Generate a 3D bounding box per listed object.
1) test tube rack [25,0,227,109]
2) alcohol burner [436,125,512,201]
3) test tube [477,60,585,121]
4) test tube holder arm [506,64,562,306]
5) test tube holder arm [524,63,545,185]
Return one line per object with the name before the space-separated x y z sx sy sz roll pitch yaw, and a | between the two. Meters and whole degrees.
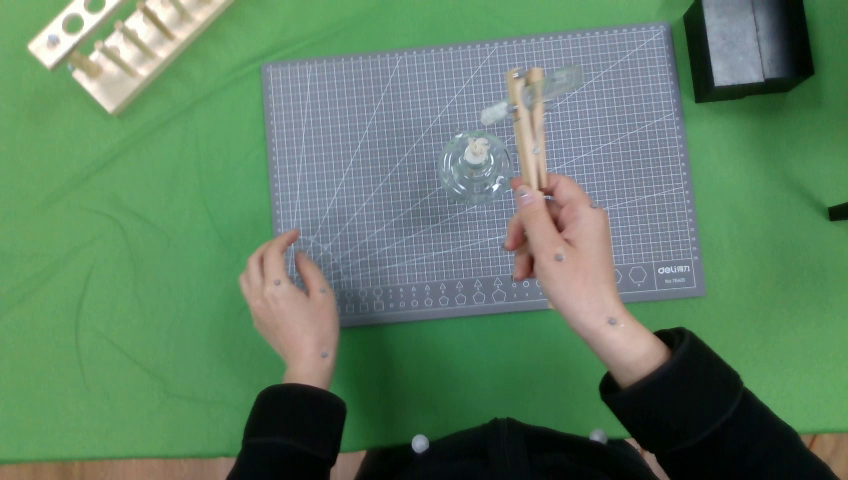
test tube rack | -0.284 -0.257 0.639 0.066 0.085 0.242 44 88 5
alcohol burner | 0.049 -0.080 0.596 0.078 0.119 0.077 0 83 4
test tube | 0.073 -0.107 0.450 0.017 0.149 0.017 -1 91 -18
test tube holder arm | 0.081 -0.039 0.447 0.013 0.015 0.178 -10 94 -16
test tube holder arm | 0.082 -0.085 0.446 0.010 0.015 0.088 -2 92 -16
